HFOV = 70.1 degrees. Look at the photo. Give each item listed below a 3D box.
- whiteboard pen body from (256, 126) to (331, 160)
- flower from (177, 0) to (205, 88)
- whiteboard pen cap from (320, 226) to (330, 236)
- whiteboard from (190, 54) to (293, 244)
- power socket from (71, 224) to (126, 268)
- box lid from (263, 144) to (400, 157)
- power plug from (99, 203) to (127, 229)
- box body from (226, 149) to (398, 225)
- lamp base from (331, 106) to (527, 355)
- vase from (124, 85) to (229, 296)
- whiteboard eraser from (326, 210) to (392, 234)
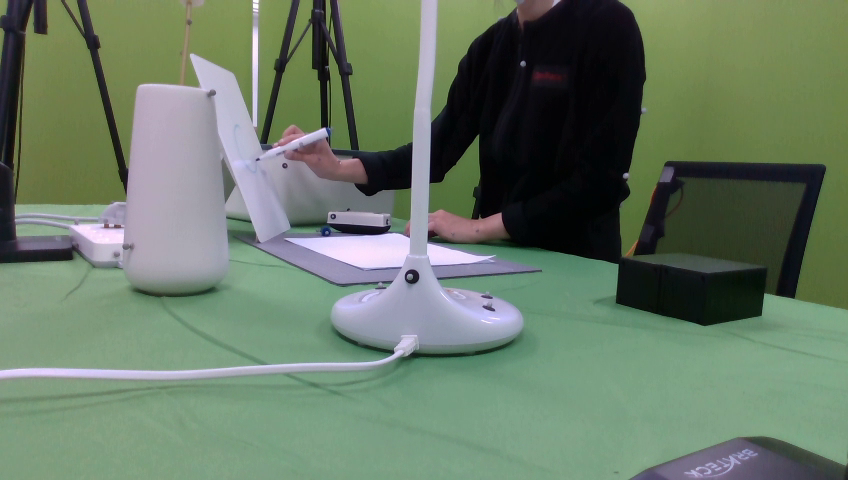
[{"bbox_3d":[-0.231,-0.168,1.065,0.141,0.017,0.017,-23,10,-4],"label":"whiteboard pen body"},{"bbox_3d":[-0.243,-0.131,0.609,0.044,0.361,0.038,-5,-12,12],"label":"flower"},{"bbox_3d":[-0.176,-0.016,1.075,0.018,0.018,0.033,1,5,-14],"label":"whiteboard pen cap"},{"bbox_3d":[-0.362,-0.129,1.028,0.144,0.305,0.217,-18,7,3],"label":"whiteboard"},{"bbox_3d":[-0.409,0.004,0.793,0.072,0.032,0.225,-2,8,-37],"label":"power socket"},{"bbox_3d":[-0.263,-0.203,1.369,0.262,0.015,0.373,9,10,39],"label":"box lid"},{"bbox_3d":[-0.415,-0.026,0.848,0.073,0.052,0.035,6,5,-28],"label":"power plug"},{"bbox_3d":[-0.265,-0.129,1.380,0.253,0.160,0.366,8,9,39],"label":"box body"},{"bbox_3d":[0.006,-0.012,0.478,0.161,0.180,0.179,2,10,2],"label":"lamp base"},{"bbox_3d":[-0.244,-0.047,0.598,0.098,0.200,0.098,3,8,0],"label":"vase"},{"bbox_3d":[-0.121,-0.033,1.131,0.112,0.042,0.056,4,8,13],"label":"whiteboard eraser"}]
